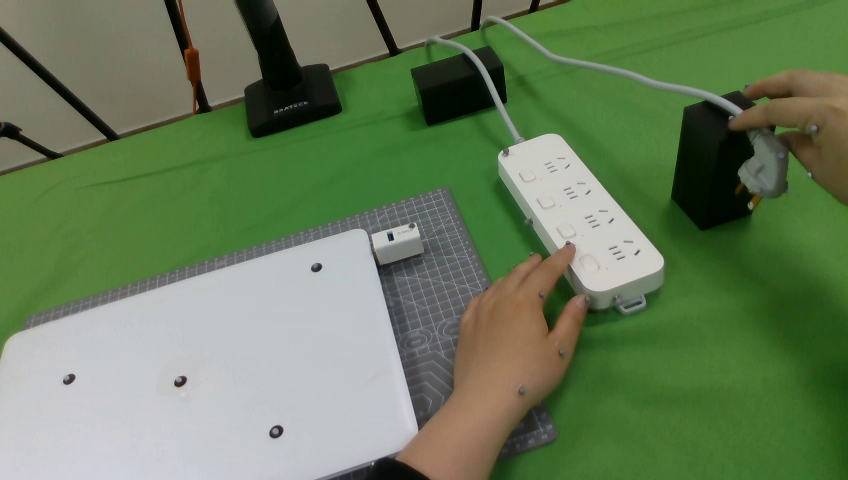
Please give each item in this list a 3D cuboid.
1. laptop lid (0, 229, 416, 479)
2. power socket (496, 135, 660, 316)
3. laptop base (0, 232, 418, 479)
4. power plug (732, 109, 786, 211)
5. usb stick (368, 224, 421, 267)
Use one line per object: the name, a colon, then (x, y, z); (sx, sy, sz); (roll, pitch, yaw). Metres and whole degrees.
laptop lid: (-0.199, 0.119, 0.498); (0.357, 0.013, 0.239); (-16, 47, -2)
power socket: (0.134, -0.024, 0.561); (0.072, 0.033, 0.224); (-19, 45, -5)
laptop base: (-0.197, 0.126, 0.508); (0.354, 0.023, 0.233); (-17, 49, -3)
power plug: (0.256, -0.061, 0.472); (0.035, 0.053, 0.072); (7, 48, -3)
usb stick: (-0.034, 0.007, 0.565); (0.059, 0.027, 0.021); (-18, 45, 0)
